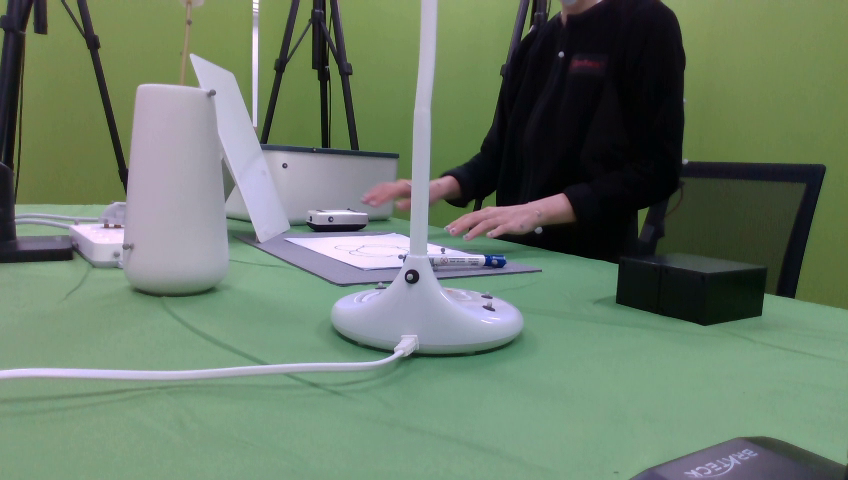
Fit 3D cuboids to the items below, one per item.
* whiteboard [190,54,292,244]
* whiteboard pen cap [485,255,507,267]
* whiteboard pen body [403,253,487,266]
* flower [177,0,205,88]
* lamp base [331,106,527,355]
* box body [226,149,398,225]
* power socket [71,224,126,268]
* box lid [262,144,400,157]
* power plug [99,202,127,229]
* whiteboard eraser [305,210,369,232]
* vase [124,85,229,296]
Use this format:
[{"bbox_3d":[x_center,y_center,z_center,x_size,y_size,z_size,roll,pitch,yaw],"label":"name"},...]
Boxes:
[{"bbox_3d":[-0.363,-0.129,1.028,0.144,0.305,0.217,-18,7,3],"label":"whiteboard"},{"bbox_3d":[0.093,0.028,0.810,0.033,0.018,0.018,2,7,-24],"label":"whiteboard pen cap"},{"bbox_3d":[0.040,0.026,0.785,0.141,0.017,0.017,1,7,-24],"label":"whiteboard pen body"},{"bbox_3d":[-0.243,-0.131,0.609,0.044,0.361,0.038,-5,-12,12],"label":"flower"},{"bbox_3d":[0.006,-0.012,0.478,0.161,0.180,0.179,2,10,2],"label":"lamp base"},{"bbox_3d":[-0.265,-0.129,1.380,0.253,0.160,0.366,8,9,39],"label":"box body"},{"bbox_3d":[-0.409,0.004,0.793,0.072,0.032,0.225,-2,8,-37],"label":"power socket"},{"bbox_3d":[-0.263,-0.203,1.369,0.262,0.015,0.373,9,10,39],"label":"box lid"},{"bbox_3d":[-0.415,-0.026,0.848,0.073,0.052,0.035,6,5,-28],"label":"power plug"},{"bbox_3d":[-0.168,-0.038,1.172,0.113,0.042,0.055,-3,8,-35],"label":"whiteboard eraser"},{"bbox_3d":[-0.244,-0.047,0.598,0.098,0.200,0.098,3,8,0],"label":"vase"}]
